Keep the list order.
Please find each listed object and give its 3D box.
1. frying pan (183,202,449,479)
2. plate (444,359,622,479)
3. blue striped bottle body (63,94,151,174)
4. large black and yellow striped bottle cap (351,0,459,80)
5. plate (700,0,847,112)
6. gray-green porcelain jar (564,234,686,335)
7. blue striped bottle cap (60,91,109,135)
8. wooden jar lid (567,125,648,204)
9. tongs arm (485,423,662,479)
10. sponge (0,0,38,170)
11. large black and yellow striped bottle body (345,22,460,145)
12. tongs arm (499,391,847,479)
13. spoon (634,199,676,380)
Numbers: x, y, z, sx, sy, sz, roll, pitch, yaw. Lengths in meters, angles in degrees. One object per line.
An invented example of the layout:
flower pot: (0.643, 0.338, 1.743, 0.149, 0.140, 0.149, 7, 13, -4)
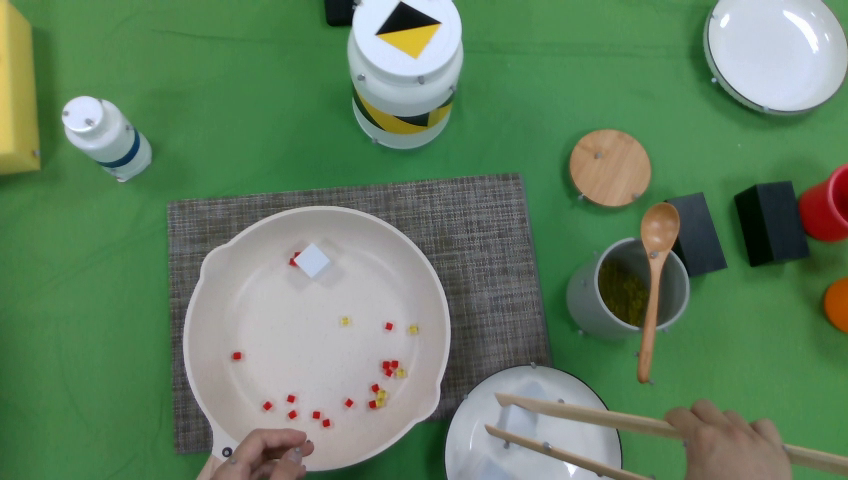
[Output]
frying pan: (-0.176, 0.182, 0.662, 0.306, 0.103, 0.486, 35, 69, 4)
plate: (0.125, 0.245, 0.710, 0.208, 0.039, 0.206, 1, 79, -5)
blue striped bottle body: (-0.372, -0.126, 0.707, 0.063, 0.121, 0.063, 1, 77, -4)
large black and yellow striped bottle cap: (-0.019, -0.226, 0.641, 0.115, 0.019, 0.114, 1, 79, -4)
plate: (0.486, -0.274, 0.853, 0.209, 0.038, 0.208, 1, 77, -4)
gray-green porcelain jar: (0.229, 0.058, 0.715, 0.106, 0.127, 0.105, 1, 77, -4)
blue striped bottle cap: (-0.369, -0.139, 0.658, 0.044, 0.020, 0.044, 1, 79, -4)
wooden jar lid: (0.242, -0.099, 0.805, 0.108, 0.021, 0.108, 1, 79, -4)
tongs arm: (0.223, 0.196, 0.512, 0.382, 0.027, 0.050, 7, 49, 39)
sponge: (-0.554, -0.188, 0.736, 0.118, 0.061, 0.206, -10, 80, -7)
large black and yellow striped bottle body: (-0.027, -0.206, 0.722, 0.131, 0.184, 0.130, 1, 77, -4)
tongs arm: (0.235, 0.178, 0.525, 0.385, 0.028, 0.028, 4, 44, 37)
spoon: (0.240, 0.052, 0.646, 0.042, 0.021, 0.193, 11, 81, -6)
